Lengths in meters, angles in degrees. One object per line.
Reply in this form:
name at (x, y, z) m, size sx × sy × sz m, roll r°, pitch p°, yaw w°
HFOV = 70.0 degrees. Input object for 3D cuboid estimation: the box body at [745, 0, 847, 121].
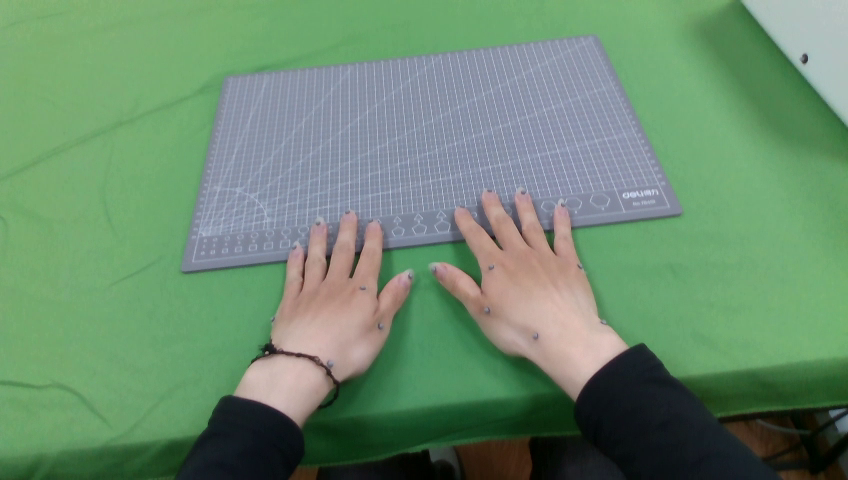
box body at (0.510, -0.251, 0.594) m, size 0.254 × 0.162 × 0.360 m, roll -7°, pitch 50°, yaw -1°
